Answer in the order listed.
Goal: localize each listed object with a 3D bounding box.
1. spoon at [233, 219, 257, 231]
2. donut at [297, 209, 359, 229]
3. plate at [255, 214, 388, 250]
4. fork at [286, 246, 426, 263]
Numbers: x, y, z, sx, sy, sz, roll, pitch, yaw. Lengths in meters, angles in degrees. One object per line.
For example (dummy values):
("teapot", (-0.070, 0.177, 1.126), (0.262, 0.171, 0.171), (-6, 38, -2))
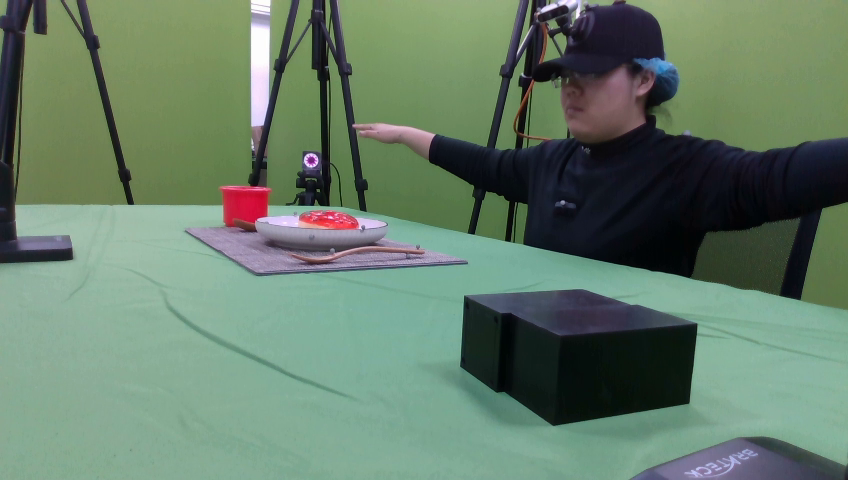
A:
("spoon", (-0.250, -0.028, 1.108), (0.195, 0.021, 0.041), (-2, -9, -29))
("donut", (-0.151, -0.023, 0.955), (0.099, 0.048, 0.099), (6, 7, 0))
("plate", (-0.161, -0.013, 0.961), (0.209, 0.038, 0.209), (2, 7, 0))
("fork", (-0.085, 0.019, 0.813), (0.208, 0.018, 0.028), (-4, 3, -34))
